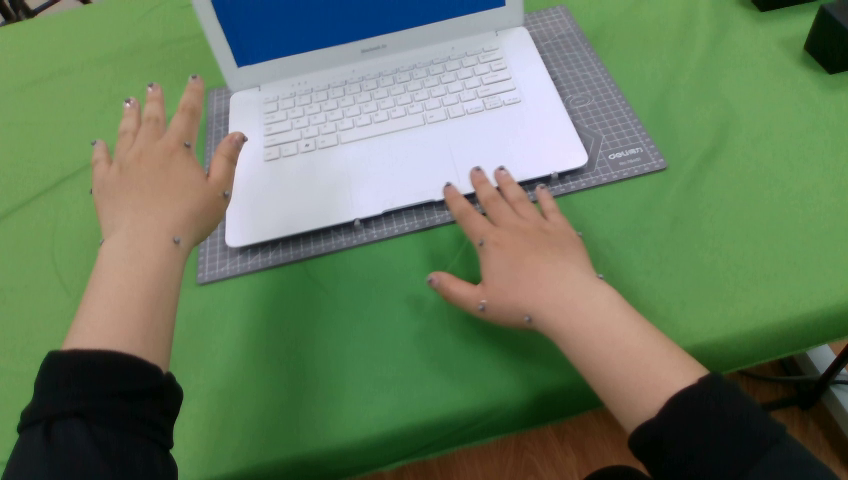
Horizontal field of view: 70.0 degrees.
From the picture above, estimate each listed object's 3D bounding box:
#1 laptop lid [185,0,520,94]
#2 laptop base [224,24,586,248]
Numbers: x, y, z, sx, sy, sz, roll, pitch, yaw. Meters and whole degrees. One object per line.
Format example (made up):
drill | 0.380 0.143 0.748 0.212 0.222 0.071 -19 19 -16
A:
laptop lid | -0.079 -0.292 0.631 0.357 0.244 0.013 -15 43 1
laptop base | -0.036 -0.118 0.641 0.354 0.023 0.233 -14 54 0
